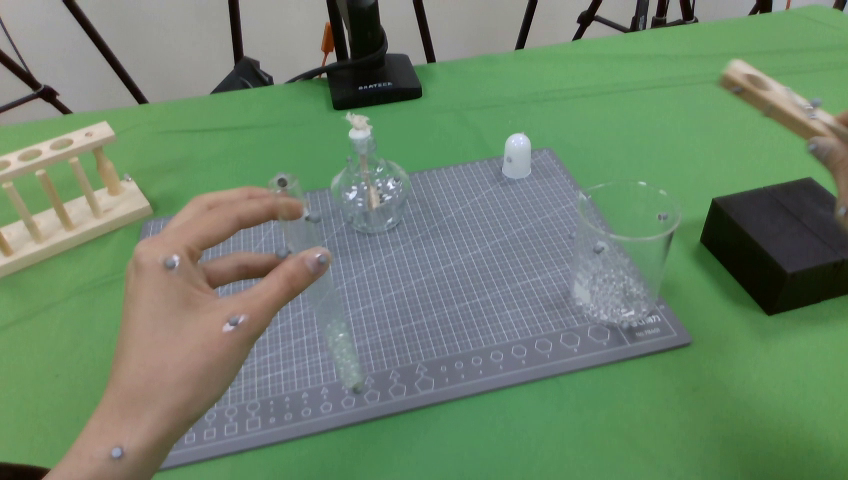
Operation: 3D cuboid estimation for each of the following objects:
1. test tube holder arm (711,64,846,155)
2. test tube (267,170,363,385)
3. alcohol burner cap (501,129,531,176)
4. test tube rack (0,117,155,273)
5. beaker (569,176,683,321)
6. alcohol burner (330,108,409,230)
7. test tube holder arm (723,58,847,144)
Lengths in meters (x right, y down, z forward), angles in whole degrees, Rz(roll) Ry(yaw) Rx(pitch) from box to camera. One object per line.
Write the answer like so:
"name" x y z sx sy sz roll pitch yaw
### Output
"test tube holder arm" 0.222 -0.082 0.380 0.087 0.015 0.010 38 80 18
"test tube" -0.057 0.029 0.335 0.017 0.151 0.017 -7 36 6
"alcohol burner cap" 0.099 -0.096 0.650 0.034 0.048 0.033 -2 42 2
"test tube rack" -0.405 -0.028 0.586 0.242 0.086 0.066 -28 47 -25
"beaker" 0.153 0.009 0.485 0.074 0.101 0.083 -33 48 -28
"alcohol burner" -0.055 -0.070 0.579 0.078 0.120 0.077 -4 41 3
"test tube holder arm" 0.259 -0.060 0.367 0.177 0.015 0.013 38 80 18
